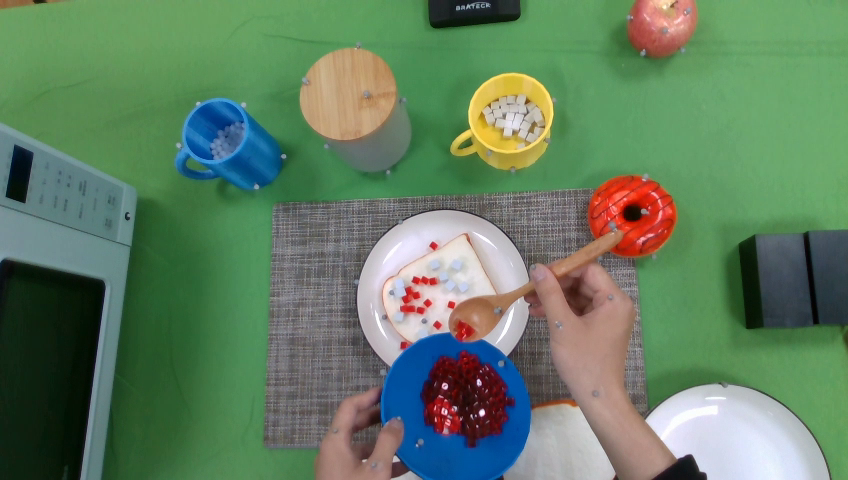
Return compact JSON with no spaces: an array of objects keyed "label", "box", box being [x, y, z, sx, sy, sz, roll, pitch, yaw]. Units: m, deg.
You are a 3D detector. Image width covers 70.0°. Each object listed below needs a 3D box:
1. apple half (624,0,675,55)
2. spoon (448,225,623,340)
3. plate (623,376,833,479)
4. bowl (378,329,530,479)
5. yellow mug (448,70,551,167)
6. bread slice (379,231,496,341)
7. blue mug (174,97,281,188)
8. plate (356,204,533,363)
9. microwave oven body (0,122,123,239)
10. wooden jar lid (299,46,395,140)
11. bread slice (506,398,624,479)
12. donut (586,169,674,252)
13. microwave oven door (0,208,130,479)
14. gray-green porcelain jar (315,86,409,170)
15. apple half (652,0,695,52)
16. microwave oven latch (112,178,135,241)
[{"label":"apple half","box":[0.261,-0.249,0.728,0.033,0.081,0.081,-34,76,-5]},{"label":"spoon","box":[0.096,0.041,0.550,0.194,0.022,0.041,-35,81,34]},{"label":"plate","box":[0.317,0.251,0.647,0.209,0.038,0.208,-2,79,8]},{"label":"bowl","box":[0.024,0.175,0.618,0.152,0.077,0.150,5,61,-9]},{"label":"yellow mug","box":[0.088,-0.139,0.736,0.131,0.064,0.099,-26,77,3]},{"label":"bread slice","box":[0.014,0.063,0.721,0.131,0.019,0.104,-28,77,0]},{"label":"blue mug","box":[-0.251,-0.111,0.756,0.116,0.106,0.082,-28,76,2]},{"label":"plate","box":[0.024,0.062,0.718,0.207,0.039,0.206,-1,79,8]},{"label":"microwave oven body","box":[-0.560,0.114,0.673,0.325,0.261,0.440,1,80,7]},{"label":"wooden jar lid","box":[-0.084,-0.160,0.668,0.108,0.021,0.108,-2,77,8]},{"label":"bread slice","box":[0.149,0.227,0.647,0.135,0.018,0.106,-6,75,-14]},{"label":"donut","box":[0.237,-0.034,0.703,0.099,0.048,0.098,-1,80,7]},{"label":"microwave oven door","box":[-0.418,0.157,0.641,0.039,0.245,0.354,1,79,8]},{"label":"gray-green porcelain jar","box":[-0.075,-0.147,0.729,0.106,0.127,0.105,-1,79,8]},{"label":"apple half","box":[0.293,-0.272,0.729,0.053,0.075,0.080,-34,73,-5]},{"label":"microwave oven latch","box":[-0.393,-0.039,0.778,0.030,0.029,0.079,3,81,8]}]
